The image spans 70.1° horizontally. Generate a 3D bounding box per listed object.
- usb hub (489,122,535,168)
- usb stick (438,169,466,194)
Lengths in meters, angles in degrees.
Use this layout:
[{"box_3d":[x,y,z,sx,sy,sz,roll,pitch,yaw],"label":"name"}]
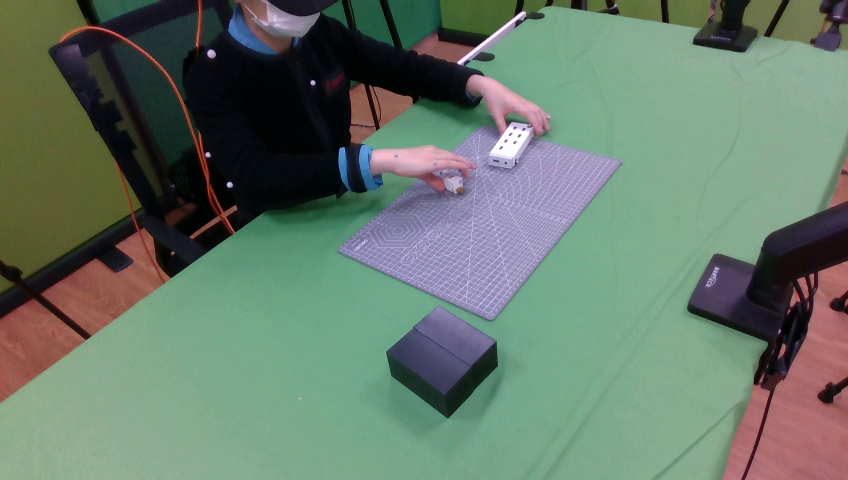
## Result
[{"box_3d":[0.169,-0.182,1.149,0.049,0.025,0.125,14,45,23],"label":"usb hub"},{"box_3d":[0.051,-0.102,1.073,0.021,0.027,0.058,-33,49,-27],"label":"usb stick"}]
